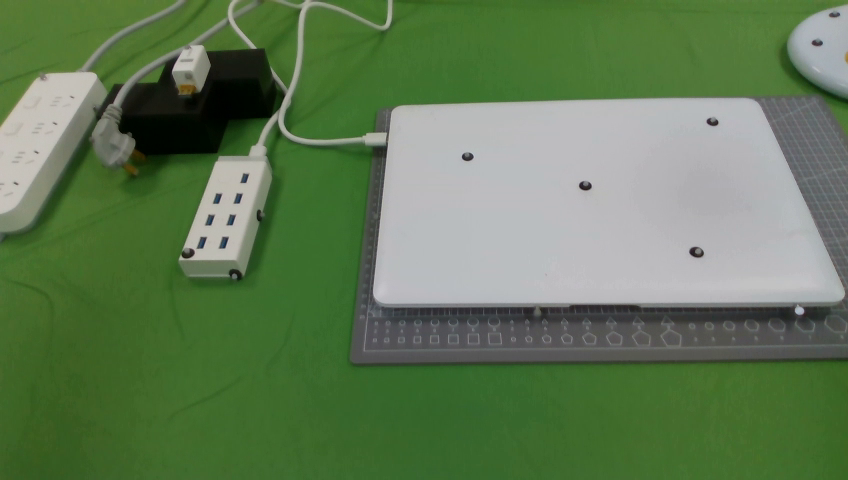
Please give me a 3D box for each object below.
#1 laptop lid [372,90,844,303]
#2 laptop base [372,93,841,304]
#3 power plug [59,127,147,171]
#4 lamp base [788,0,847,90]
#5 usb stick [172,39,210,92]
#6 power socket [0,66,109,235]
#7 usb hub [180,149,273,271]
[{"bbox_3d":[0.138,-0.048,0.518,0.356,0.013,0.239,1,53,4],"label":"laptop lid"},{"bbox_3d":[0.139,-0.043,0.529,0.354,0.023,0.233,0,55,3],"label":"laptop base"},{"bbox_3d":[-0.301,-0.083,0.575,0.072,0.053,0.035,-12,51,37],"label":"power plug"},{"bbox_3d":[0.469,-0.259,0.578,0.159,0.182,0.179,27,55,23],"label":"lamp base"},{"bbox_3d":[-0.224,-0.166,0.580,0.021,0.027,0.058,-1,53,1],"label":"usb stick"},{"bbox_3d":[-0.383,-0.098,0.596,0.072,0.033,0.224,1,51,3],"label":"power socket"},{"bbox_3d":[-0.171,-0.029,0.532,0.049,0.025,0.124,0,51,5],"label":"usb hub"}]
